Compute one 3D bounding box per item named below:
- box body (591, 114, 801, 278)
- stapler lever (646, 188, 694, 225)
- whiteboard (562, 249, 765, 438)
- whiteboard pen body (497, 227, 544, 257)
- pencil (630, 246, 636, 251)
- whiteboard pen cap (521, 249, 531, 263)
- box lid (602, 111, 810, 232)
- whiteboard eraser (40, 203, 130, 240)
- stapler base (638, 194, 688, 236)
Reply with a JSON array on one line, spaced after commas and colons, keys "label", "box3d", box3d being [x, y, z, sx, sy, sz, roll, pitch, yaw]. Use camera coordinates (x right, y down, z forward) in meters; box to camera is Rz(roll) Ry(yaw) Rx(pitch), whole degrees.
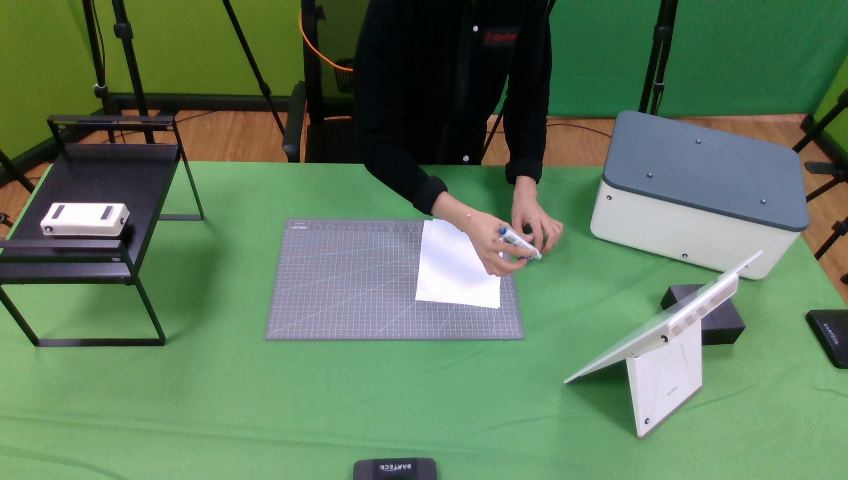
[{"label": "box body", "box3d": [0.540, -0.092, 1.229, 0.363, 0.161, 0.253, 16, 47, 11]}, {"label": "stapler lever", "box3d": [0.515, -0.078, 1.265, 0.027, 0.040, 0.117, -2, 41, -29]}, {"label": "whiteboard", "box3d": [0.386, 0.175, 0.905, 0.217, 0.306, 0.143, -26, 72, -26]}, {"label": "whiteboard pen body", "box3d": [0.166, 0.006, 1.024, 0.141, 0.017, 0.017, 26, 27, -45]}, {"label": "pencil", "box3d": [0.431, -0.060, 1.284, 0.012, 0.012, 0.193, 3, 58, -1]}, {"label": "whiteboard pen cap", "box3d": [0.200, 0.029, 1.188, 0.018, 0.018, 0.033, 16, 46, 11]}, {"label": "box lid", "box3d": [0.545, -0.143, 1.176, 0.371, 0.015, 0.262, 15, 47, 11]}, {"label": "whiteboard eraser", "box3d": [-0.513, -0.028, 0.922, 0.113, 0.042, 0.055, 1, 48, -3]}, {"label": "stapler base", "box3d": [0.509, -0.059, 1.278, 0.041, 0.024, 0.129, -1, 40, -29]}]
